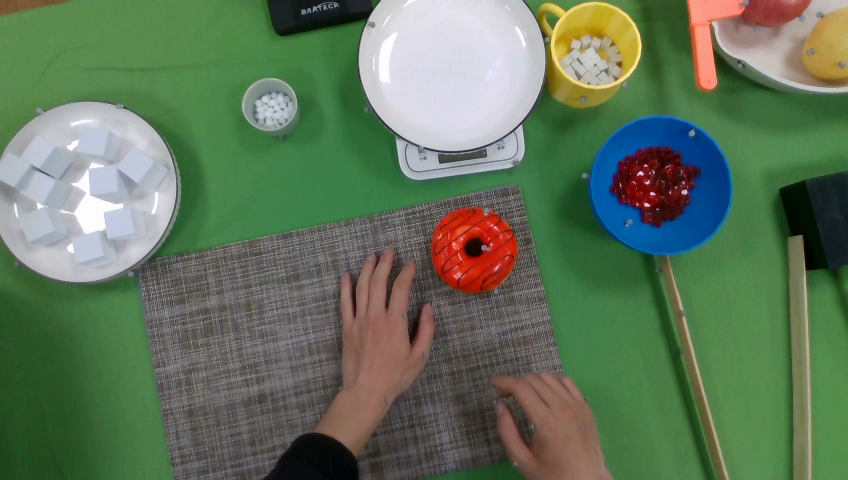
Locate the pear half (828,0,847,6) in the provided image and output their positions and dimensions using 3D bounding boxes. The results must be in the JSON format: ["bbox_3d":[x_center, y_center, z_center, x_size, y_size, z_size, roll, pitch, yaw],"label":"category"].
[{"bbox_3d":[0.485,-0.254,0.682,0.070,0.088,0.031,19,85,7],"label":"pear half"}]

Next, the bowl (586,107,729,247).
[{"bbox_3d":[0.246,-0.064,0.674,0.151,0.077,0.151,0,86,-1],"label":"bowl"}]

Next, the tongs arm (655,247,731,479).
[{"bbox_3d":[0.330,0.184,0.677,0.051,0.026,0.384,-13,87,-6],"label":"tongs arm"}]

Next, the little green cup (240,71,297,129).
[{"bbox_3d":[-0.175,-0.158,0.696,0.061,0.039,0.061,0,85,0],"label":"little green cup"}]

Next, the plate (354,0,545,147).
[{"bbox_3d":[0.028,-0.203,0.673,0.209,0.038,0.208,0,85,-1],"label":"plate"}]

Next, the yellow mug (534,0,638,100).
[{"bbox_3d":[0.174,-0.230,0.693,0.100,0.064,0.130,-45,86,-3],"label":"yellow mug"}]

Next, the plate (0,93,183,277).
[{"bbox_3d":[-0.374,-0.060,0.685,0.208,0.039,0.207,0,85,-1],"label":"plate"}]

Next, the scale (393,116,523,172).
[{"bbox_3d":[0.031,-0.186,0.704,0.149,0.031,0.200,-8,86,-1],"label":"scale"}]

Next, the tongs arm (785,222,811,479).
[{"bbox_3d":[0.416,0.172,0.683,0.028,0.028,0.386,2,86,-8],"label":"tongs arm"}]

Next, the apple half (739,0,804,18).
[{"bbox_3d":[0.392,-0.285,0.692,0.081,0.074,0.053,29,89,-1],"label":"apple half"}]

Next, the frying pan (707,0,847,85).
[{"bbox_3d":[0.505,-0.234,0.679,0.307,0.103,0.485,-39,79,-3],"label":"frying pan"}]

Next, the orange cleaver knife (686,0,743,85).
[{"bbox_3d":[0.309,-0.276,0.661,0.077,0.012,0.211,-7,86,1],"label":"orange cleaver knife"}]

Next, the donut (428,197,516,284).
[{"bbox_3d":[0.053,0.001,0.679,0.099,0.048,0.099,0,86,1],"label":"donut"}]

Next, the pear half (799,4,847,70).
[{"bbox_3d":[0.467,-0.224,0.670,0.076,0.110,0.056,24,85,5],"label":"pear half"}]
